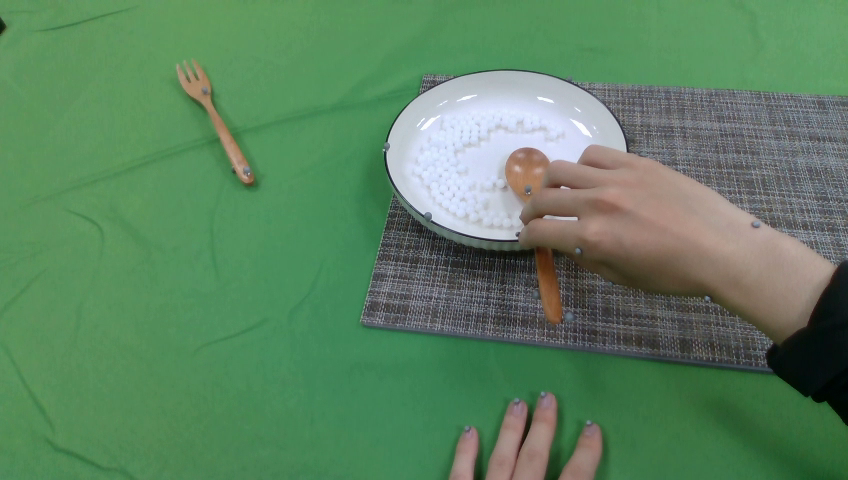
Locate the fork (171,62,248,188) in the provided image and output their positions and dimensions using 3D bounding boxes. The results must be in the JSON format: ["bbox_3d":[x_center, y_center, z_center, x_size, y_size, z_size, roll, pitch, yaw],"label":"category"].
[{"bbox_3d":[-0.214,-0.119,0.603,0.028,0.019,0.205,-22,53,-20],"label":"fork"}]

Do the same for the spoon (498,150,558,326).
[{"bbox_3d":[0.082,-0.010,0.466,0.041,0.022,0.192,1,39,1],"label":"spoon"}]

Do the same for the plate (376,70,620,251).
[{"bbox_3d":[0.063,-0.071,0.533,0.207,0.039,0.205,-2,53,3],"label":"plate"}]
